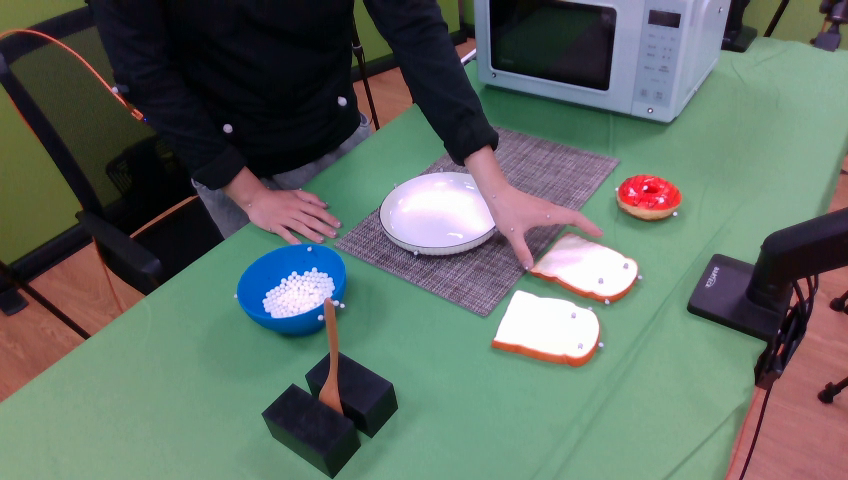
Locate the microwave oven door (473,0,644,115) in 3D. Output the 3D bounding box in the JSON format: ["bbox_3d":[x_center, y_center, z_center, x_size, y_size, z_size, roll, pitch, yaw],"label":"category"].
[{"bbox_3d":[0.257,-0.396,1.199,0.353,0.245,0.039,21,48,29],"label":"microwave oven door"}]

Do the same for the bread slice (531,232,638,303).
[{"bbox_3d":[0.242,0.042,0.888,0.133,0.018,0.107,22,49,31],"label":"bread slice"}]

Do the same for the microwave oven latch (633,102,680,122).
[{"bbox_3d":[0.444,-0.249,1.157,0.078,0.029,0.030,21,49,30],"label":"microwave oven latch"}]

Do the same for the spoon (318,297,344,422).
[{"bbox_3d":[-0.107,0.139,0.687,0.041,0.194,0.022,27,37,31],"label":"spoon"}]

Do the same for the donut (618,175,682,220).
[{"bbox_3d":[0.366,-0.070,0.981,0.099,0.048,0.098,-3,39,3],"label":"donut"}]

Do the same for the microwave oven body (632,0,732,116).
[{"bbox_3d":[0.377,-0.462,1.267,0.438,0.261,0.327,21,48,30],"label":"microwave oven body"}]

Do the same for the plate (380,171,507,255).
[{"bbox_3d":[0.032,-0.042,0.994,0.207,0.039,0.206,-4,40,4],"label":"plate"}]

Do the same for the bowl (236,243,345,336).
[{"bbox_3d":[-0.180,0.082,0.855,0.151,0.077,0.150,-4,40,4],"label":"bowl"}]

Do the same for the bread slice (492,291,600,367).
[{"bbox_3d":[0.169,0.118,0.811,0.131,0.019,0.105,11,44,21],"label":"bread slice"}]
